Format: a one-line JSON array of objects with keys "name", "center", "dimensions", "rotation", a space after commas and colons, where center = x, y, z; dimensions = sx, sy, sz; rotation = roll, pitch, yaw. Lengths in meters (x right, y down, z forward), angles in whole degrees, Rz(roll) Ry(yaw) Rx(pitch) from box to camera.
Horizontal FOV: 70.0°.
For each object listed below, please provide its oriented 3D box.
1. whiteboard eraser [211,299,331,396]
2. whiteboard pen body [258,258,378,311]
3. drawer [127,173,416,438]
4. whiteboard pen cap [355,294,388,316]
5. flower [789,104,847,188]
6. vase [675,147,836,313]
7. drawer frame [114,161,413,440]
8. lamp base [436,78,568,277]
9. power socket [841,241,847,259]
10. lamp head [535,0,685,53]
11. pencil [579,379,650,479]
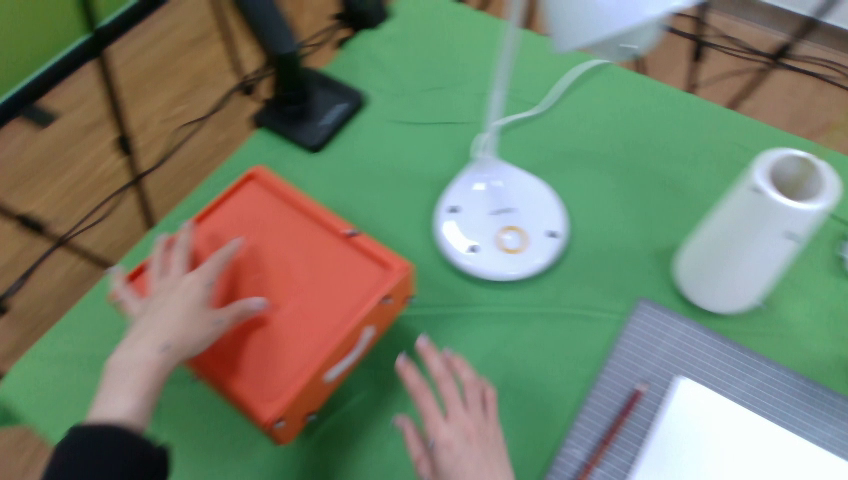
[{"name": "whiteboard eraser", "center": [-0.150, 0.105, 0.597], "dimensions": [0.112, 0.042, 0.055], "rotation": [24, 55, 23]}, {"name": "whiteboard pen body", "center": [-0.112, 0.048, 0.636], "dimensions": [0.140, 0.017, 0.017], "rotation": [20, 60, 11]}, {"name": "drawer", "center": [-0.147, 0.055, 0.609], "dimensions": [0.210, 0.074, 0.194], "rotation": [32, 65, 19]}, {"name": "whiteboard pen cap", "center": [-0.055, 0.067, 0.623], "dimensions": [0.033, 0.018, 0.018], "rotation": [15, 59, 21]}, {"name": "flower", "center": [0.343, -0.059, 0.554], "dimensions": [0.038, 0.364, 0.043], "rotation": [17, 42, 4]}, {"name": "vase", "center": [0.330, -0.005, 0.618], "dimensions": [0.098, 0.202, 0.097], "rotation": [-1, 57, 2]}, {"name": "drawer frame", "center": [-0.153, 0.053, 0.612], "dimensions": [0.212, 0.083, 0.201], "rotation": [32, 64, 17]}, {"name": "lamp base", "center": [0.087, -0.075, 0.677], "dimensions": [0.161, 0.182, 0.177], "rotation": [-21, 57, -11]}, {"name": "power socket", "center": [0.597, 0.044, 0.679], "dimensions": [0.226, 0.033, 0.072], "rotation": [22, 62, 14]}, {"name": "lamp head", "center": [0.117, -0.203, 0.415], "dimensions": [0.112, 0.112, 0.123], "rotation": [-28, 100, -15]}, {"name": "pencil", "center": [0.176, 0.209, 0.598], "dimensions": [0.012, 0.012, 0.193], "rotation": [35, 63, 21]}]
